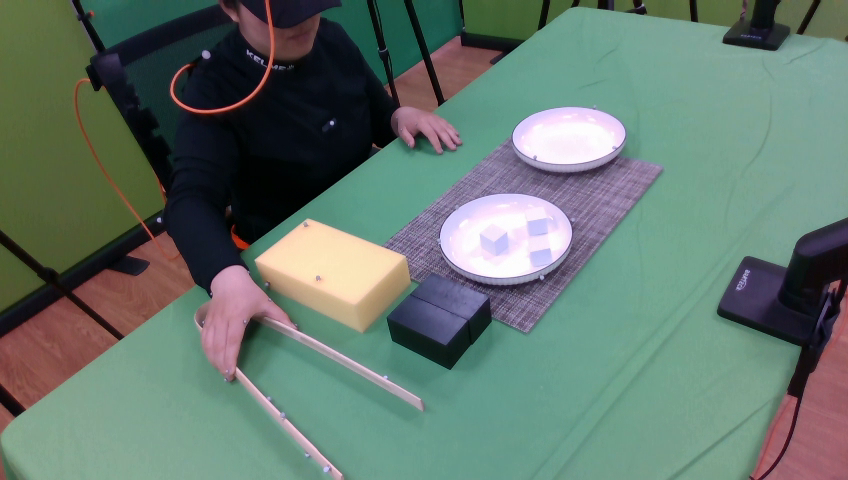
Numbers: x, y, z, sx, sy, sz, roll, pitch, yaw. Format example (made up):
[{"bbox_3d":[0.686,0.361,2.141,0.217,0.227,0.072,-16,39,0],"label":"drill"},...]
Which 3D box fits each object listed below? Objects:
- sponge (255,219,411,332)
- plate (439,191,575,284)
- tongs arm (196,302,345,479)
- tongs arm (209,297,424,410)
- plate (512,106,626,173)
[{"bbox_3d":[-0.139,0.048,0.922,0.205,0.061,0.118,19,47,30],"label":"sponge"},{"bbox_3d":[0.129,-0.001,0.942,0.207,0.039,0.206,-5,40,5],"label":"plate"},{"bbox_3d":[-0.207,0.185,0.792,0.381,0.026,0.051,28,52,37],"label":"tongs arm"},{"bbox_3d":[-0.159,0.148,0.830,0.384,0.028,0.028,19,51,30],"label":"tongs arm"},{"bbox_3d":[0.269,-0.185,1.132,0.209,0.038,0.208,-5,40,5],"label":"plate"}]
